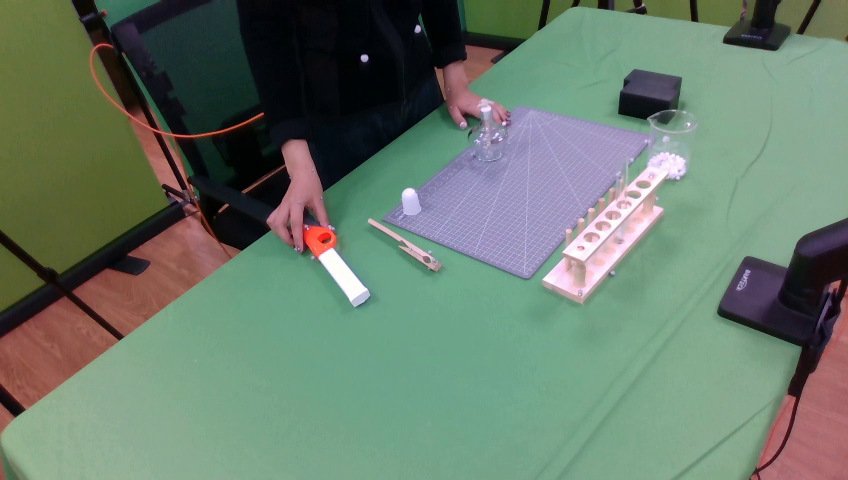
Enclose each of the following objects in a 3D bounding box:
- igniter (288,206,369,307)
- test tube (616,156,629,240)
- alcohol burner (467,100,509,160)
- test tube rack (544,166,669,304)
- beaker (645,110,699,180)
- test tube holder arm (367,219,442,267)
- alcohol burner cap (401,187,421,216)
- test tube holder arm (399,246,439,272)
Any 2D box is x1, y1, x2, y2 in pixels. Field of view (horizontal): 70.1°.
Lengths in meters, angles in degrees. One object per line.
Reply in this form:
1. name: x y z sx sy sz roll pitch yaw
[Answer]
1. igniter: -0.163 0.017 0.986 0.057 0.025 0.274 -33 44 -13
2. test tube: 0.284 -0.057 0.869 0.017 0.151 0.017 -8 42 8
3. alcohol burner: 0.118 -0.210 1.131 0.078 0.119 0.077 -6 42 5
4. test tube rack: 0.274 -0.018 0.903 0.066 0.085 0.243 26 51 35
5. beaker: 0.417 -0.160 1.032 0.083 0.101 0.074 25 51 35
6. test tube holder arm: -0.035 0.003 0.985 0.177 0.015 0.013 32 90 40
7. alcohol burner cap: -0.025 -0.070 1.048 0.034 0.048 0.033 -5 41 5
8. test tube holder arm: -0.009 0.026 0.957 0.087 0.015 0.010 35 91 40
